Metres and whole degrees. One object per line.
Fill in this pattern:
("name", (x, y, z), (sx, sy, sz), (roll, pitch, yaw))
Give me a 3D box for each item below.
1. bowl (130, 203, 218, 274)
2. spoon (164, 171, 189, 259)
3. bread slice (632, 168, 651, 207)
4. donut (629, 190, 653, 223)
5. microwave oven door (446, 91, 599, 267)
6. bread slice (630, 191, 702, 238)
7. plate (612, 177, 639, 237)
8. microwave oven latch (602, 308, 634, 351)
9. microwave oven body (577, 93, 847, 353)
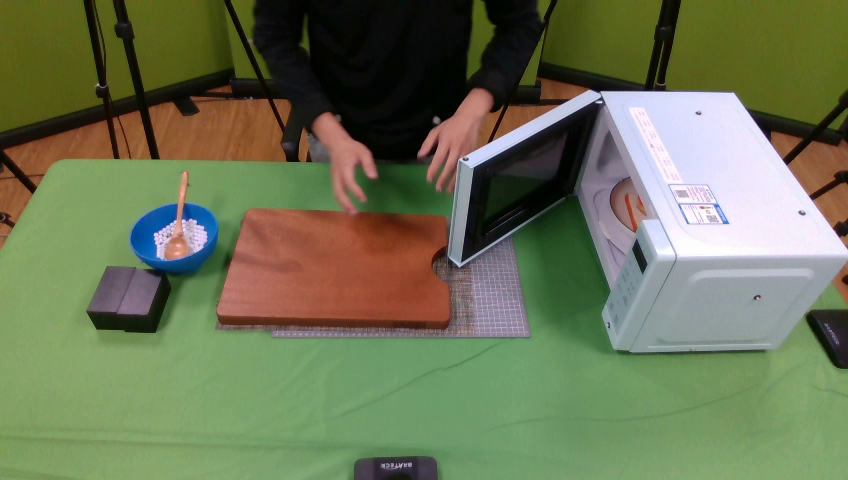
("bowl", (-0.451, 0.009, 1.116), (0.151, 0.077, 0.150), (3, 45, -2))
("spoon", (-0.452, -0.046, 1.129), (0.041, 0.022, 0.193), (-1, 69, -3))
("bread slice", (0.462, -0.090, 1.137), (0.134, 0.018, 0.106), (7, 43, -14))
("donut", (0.443, -0.059, 1.163), (0.099, 0.048, 0.098), (0, 50, 0))
("microwave oven door", (0.191, -0.120, 1.157), (0.356, 0.245, 0.039), (-31, 55, -30))
("bread slice", (0.477, -0.050, 1.190), (0.131, 0.019, 0.104), (15, 46, 12))
("plate", (0.472, -0.051, 1.187), (0.208, 0.039, 0.206), (-1, 45, 1))
("microwave oven latch", (0.332, 0.153, 1.043), (0.030, 0.029, 0.078), (-1, 45, -4))
("microwave oven body", (0.475, -0.041, 1.109), (0.326, 0.261, 0.438), (-1, 45, -4))
